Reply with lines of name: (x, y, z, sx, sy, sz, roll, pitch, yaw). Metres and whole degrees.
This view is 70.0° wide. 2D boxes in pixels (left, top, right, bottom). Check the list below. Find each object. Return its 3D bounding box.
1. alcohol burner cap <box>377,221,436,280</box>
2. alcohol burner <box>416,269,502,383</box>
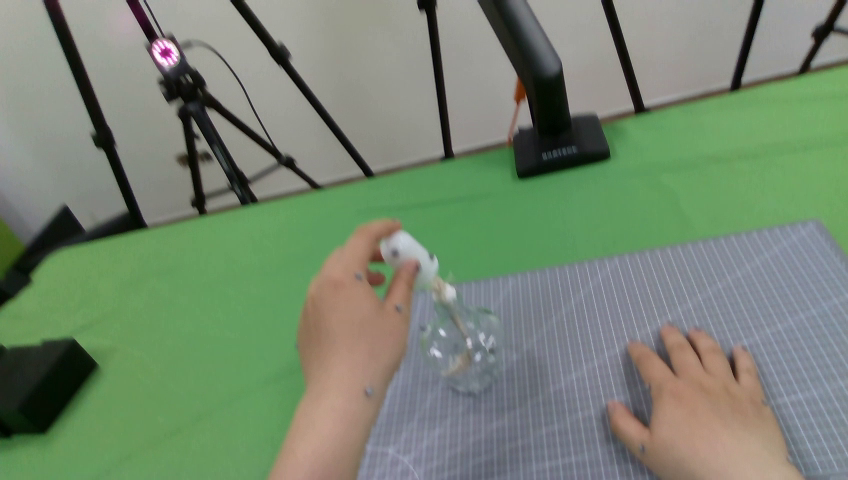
alcohol burner cap: (-0.016, 0.005, 0.465, 0.034, 0.048, 0.033, -23, 42, 23)
alcohol burner: (0.027, 0.069, 0.525, 0.078, 0.120, 0.077, -12, 38, 10)
